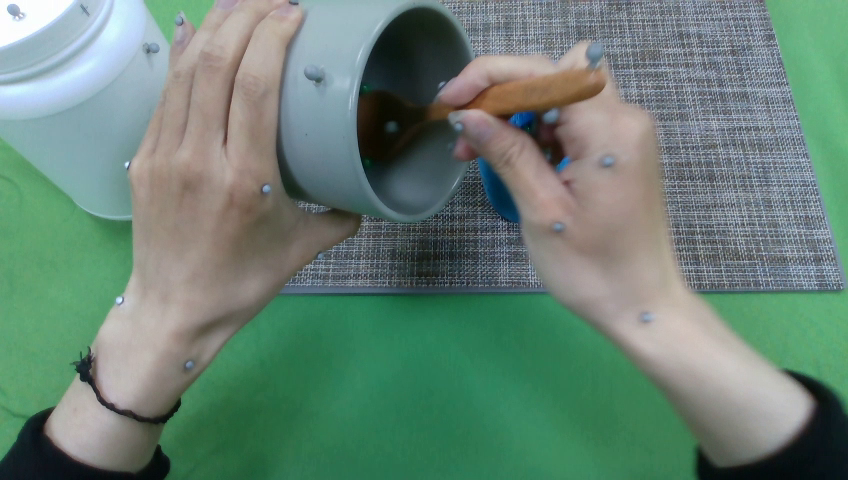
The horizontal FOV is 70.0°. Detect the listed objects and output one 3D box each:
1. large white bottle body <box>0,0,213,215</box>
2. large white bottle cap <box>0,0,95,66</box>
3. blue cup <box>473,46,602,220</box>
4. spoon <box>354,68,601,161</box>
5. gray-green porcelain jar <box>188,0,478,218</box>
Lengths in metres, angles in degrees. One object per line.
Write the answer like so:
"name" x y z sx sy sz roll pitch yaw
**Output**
"large white bottle body" -0.242 -0.113 0.431 0.130 0.186 0.129 -1 64 3
"large white bottle cap" -0.248 -0.150 0.354 0.115 0.018 0.114 -1 65 3
"blue cup" 0.074 -0.063 0.429 0.092 0.101 0.092 -2 63 5
"spoon" 0.005 -0.062 0.298 0.022 0.192 0.041 2 93 -34
"gray-green porcelain jar" -0.051 -0.073 0.322 0.125 0.107 0.105 14 65 33
